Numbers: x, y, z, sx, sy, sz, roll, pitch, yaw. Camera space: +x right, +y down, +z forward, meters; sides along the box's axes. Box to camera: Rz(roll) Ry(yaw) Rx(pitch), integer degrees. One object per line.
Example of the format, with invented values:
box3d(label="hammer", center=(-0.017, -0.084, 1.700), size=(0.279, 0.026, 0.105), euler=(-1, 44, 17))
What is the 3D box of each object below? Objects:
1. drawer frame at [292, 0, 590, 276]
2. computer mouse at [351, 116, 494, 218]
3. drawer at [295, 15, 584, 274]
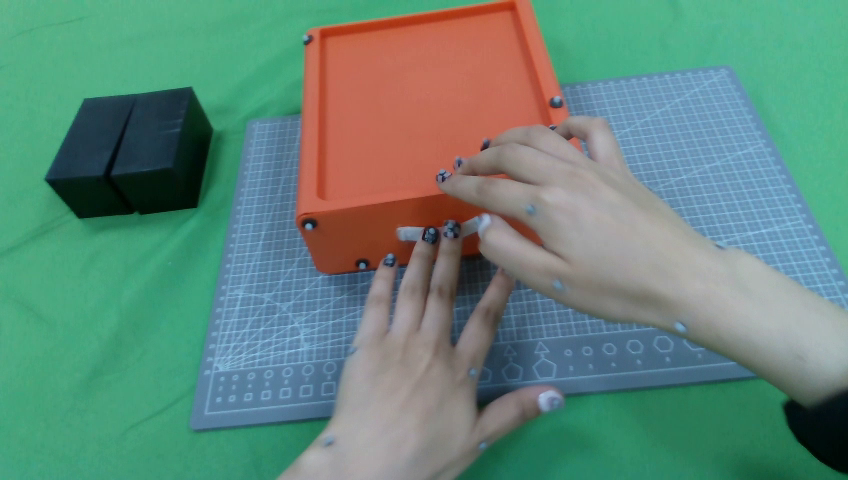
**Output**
box3d(label="drawer frame", center=(0.004, -0.087, 0.486), size=(0.202, 0.083, 0.211), euler=(-9, 52, 1))
box3d(label="computer mouse", center=(-0.004, -0.058, 0.469), size=(0.117, 0.041, 0.062), euler=(-13, 53, 15))
box3d(label="drawer", center=(0.004, -0.084, 0.485), size=(0.194, 0.074, 0.209), euler=(-8, 52, 2))
